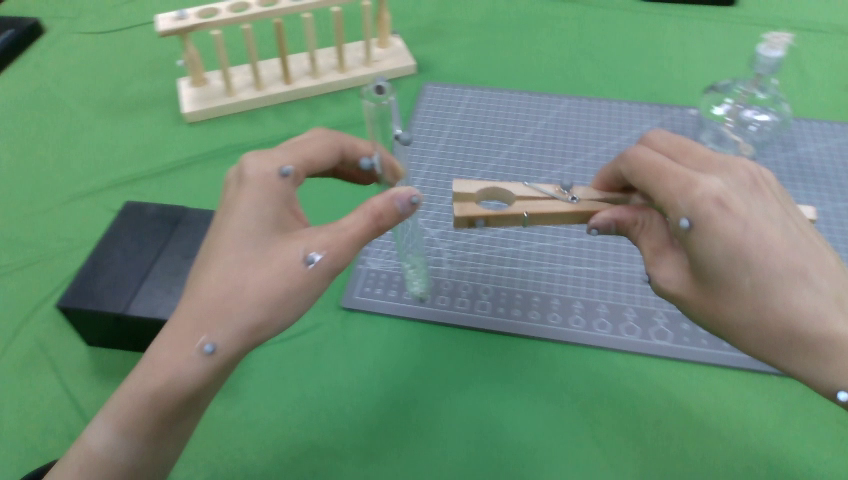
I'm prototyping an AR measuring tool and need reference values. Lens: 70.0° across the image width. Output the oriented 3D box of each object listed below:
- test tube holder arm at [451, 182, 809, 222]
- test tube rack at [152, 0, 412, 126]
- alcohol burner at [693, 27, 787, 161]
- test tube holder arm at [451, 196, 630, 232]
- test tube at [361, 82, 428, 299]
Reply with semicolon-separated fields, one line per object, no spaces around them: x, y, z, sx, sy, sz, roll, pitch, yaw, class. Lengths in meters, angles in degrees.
0.103;-0.019;0.306;0.178;0.015;0.013;1;67;0;test tube holder arm
-0.138;-0.198;0.624;0.243;0.086;0.066;-16;50;-12;test tube rack
0.281;-0.129;0.528;0.078;0.120;0.077;0;47;1;alcohol burner
0.058;-0.013;0.303;0.088;0.015;0.010;-4;67;-2;test tube holder arm
-0.012;-0.015;0.312;0.017;0.152;0.017;-4;50;5;test tube
